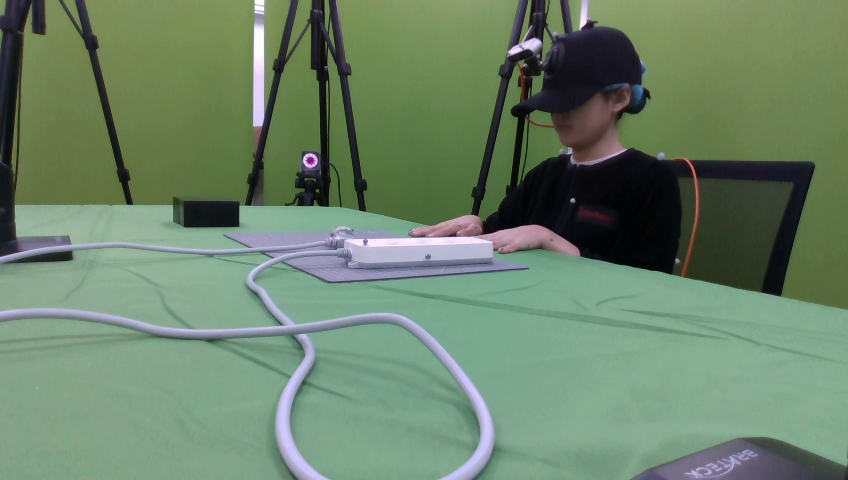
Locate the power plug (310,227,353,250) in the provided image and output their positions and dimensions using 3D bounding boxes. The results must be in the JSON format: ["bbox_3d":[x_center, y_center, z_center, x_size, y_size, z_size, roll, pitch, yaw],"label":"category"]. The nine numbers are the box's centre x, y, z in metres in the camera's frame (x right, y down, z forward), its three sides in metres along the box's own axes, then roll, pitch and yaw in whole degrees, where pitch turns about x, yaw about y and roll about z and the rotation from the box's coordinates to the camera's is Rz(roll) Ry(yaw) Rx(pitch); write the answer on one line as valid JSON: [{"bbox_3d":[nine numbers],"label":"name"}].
[{"bbox_3d":[-0.141,-0.007,0.918,0.073,0.035,0.052,21,11,-36],"label":"power plug"}]

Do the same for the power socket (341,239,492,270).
[{"bbox_3d":[-0.007,0.018,0.831,0.228,0.032,0.072,-1,7,-29],"label":"power socket"}]
